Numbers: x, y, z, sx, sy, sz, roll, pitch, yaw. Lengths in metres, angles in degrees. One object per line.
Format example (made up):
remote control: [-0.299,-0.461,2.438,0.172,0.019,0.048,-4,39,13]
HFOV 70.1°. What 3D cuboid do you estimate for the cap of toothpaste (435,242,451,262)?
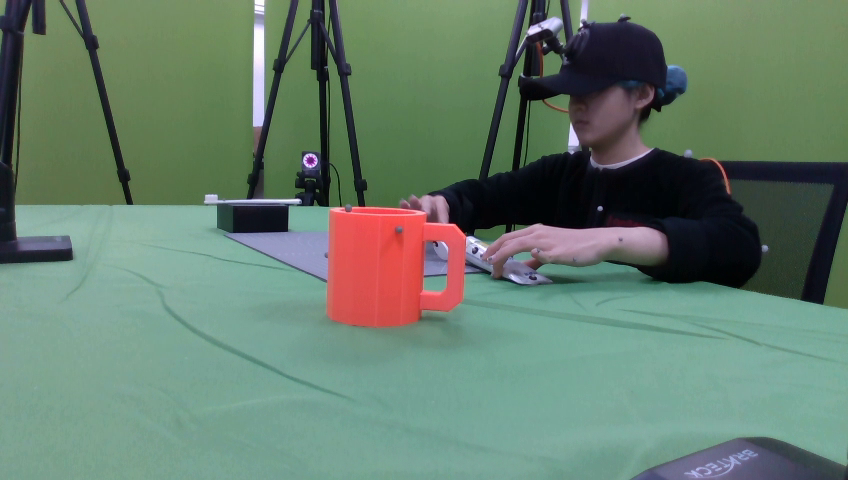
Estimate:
cap of toothpaste: [0.030,0.013,0.851,0.011,0.037,0.037,-32,25,-27]

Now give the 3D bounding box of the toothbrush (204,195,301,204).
toothbrush: [-0.314,-0.074,1.120,0.183,0.016,0.014,-2,4,-36]

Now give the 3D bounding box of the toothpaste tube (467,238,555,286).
toothpaste tube: [0.093,0.030,0.788,0.055,0.034,0.164,-7,19,-34]

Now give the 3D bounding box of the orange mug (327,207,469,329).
orange mug: [-0.024,0.021,0.535,0.126,0.100,0.083,-1,6,8]
